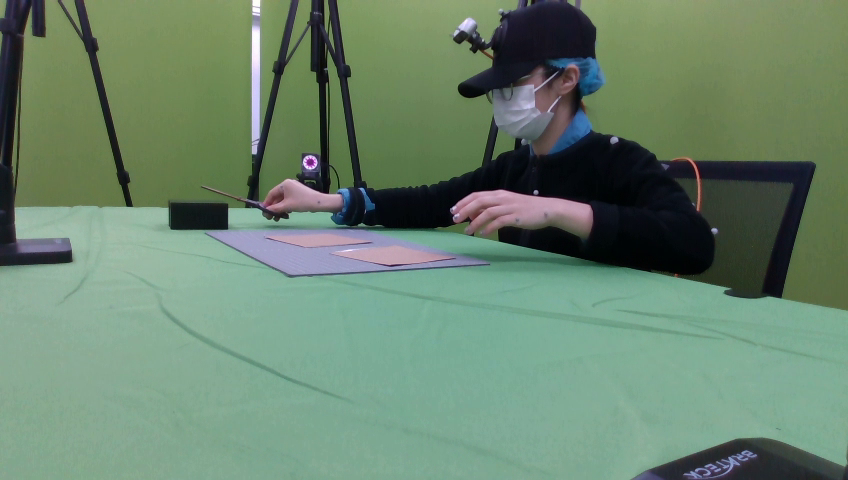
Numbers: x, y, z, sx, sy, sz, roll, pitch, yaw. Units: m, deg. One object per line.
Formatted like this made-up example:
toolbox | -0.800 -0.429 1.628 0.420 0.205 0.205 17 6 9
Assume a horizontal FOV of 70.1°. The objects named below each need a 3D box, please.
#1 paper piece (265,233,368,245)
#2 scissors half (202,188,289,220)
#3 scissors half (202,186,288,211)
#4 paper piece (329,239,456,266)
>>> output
paper piece | -0.180 -0.005 1.032 0.136 0.004 0.135 -3 9 -43
scissors half | -0.354 -0.074 1.206 0.176 0.013 0.040 20 27 -22
scissors half | -0.359 -0.086 1.220 0.176 0.013 0.040 13 35 -33
paper piece | -0.047 0.018 0.892 0.137 0.008 0.137 12 17 44
